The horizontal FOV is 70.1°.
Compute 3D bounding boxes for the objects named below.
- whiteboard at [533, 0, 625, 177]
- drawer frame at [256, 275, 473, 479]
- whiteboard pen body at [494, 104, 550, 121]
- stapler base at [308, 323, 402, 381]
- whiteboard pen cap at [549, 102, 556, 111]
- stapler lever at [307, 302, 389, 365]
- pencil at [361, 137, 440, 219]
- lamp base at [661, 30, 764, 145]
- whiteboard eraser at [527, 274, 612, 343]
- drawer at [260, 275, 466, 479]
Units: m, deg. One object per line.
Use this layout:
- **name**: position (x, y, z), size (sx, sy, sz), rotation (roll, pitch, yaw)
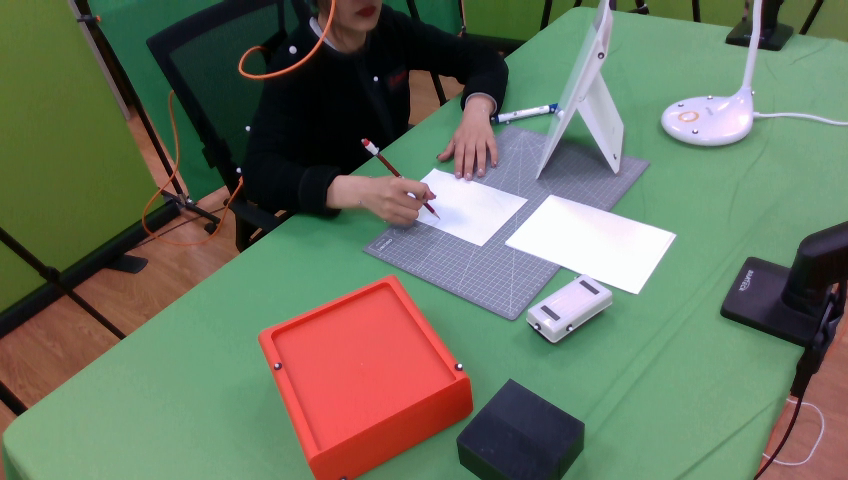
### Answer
- **whiteboard**: position (0.321, -0.258, 1.049), size (0.144, 0.306, 0.217), rotation (20, 45, 4)
- **drawer frame**: position (-0.078, 0.164, 0.756), size (0.202, 0.083, 0.211), rotation (-23, 43, -17)
- **whiteboard pen body**: position (0.216, -0.268, 1.257), size (0.141, 0.017, 0.017), rotation (-12, 40, -4)
- **stapler base**: position (-0.094, 0.142, 0.812), size (0.131, 0.024, 0.041), rotation (-25, 29, -17)
- **whiteboard pen cap**: position (0.273, -0.279, 1.259), size (0.033, 0.018, 0.018), rotation (-10, 40, -4)
- **stapler lever**: position (-0.101, 0.121, 0.799), size (0.118, 0.040, 0.026), rotation (-26, 29, -17)
- **pencil**: position (-0.034, -0.097, 0.980), size (0.012, 0.195, 0.012), rotation (-33, 30, 22)
- **lamp base**: position (0.535, -0.287, 1.096), size (0.179, 0.181, 0.159), rotation (-10, 40, -4)
- **whiteboard eraser**: position (0.198, 0.094, 0.820), size (0.113, 0.042, 0.055), rotation (-30, 43, -22)
- **drawer**: position (-0.080, 0.162, 0.760), size (0.195, 0.073, 0.210), rotation (-22, 42, -16)
